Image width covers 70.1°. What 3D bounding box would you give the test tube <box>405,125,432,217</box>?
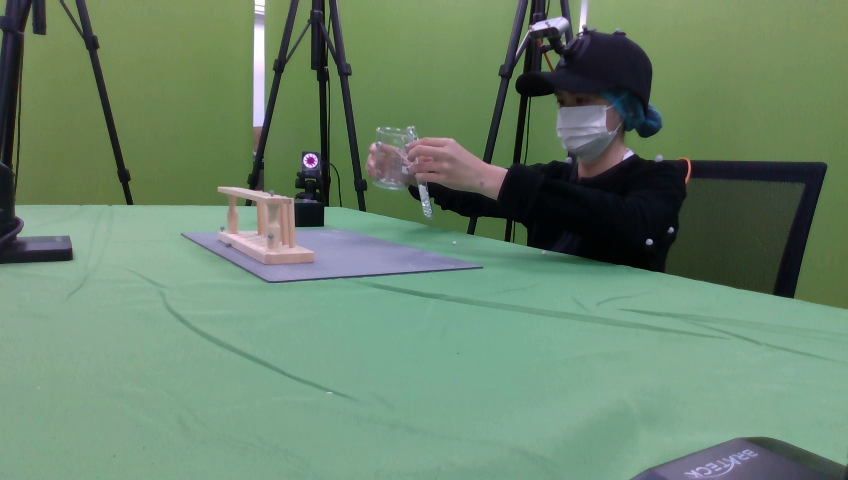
[{"bbox_3d":[-0.008,-0.110,0.973,0.017,0.150,0.017,-12,6,1],"label":"test tube"}]

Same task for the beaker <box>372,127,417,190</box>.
[{"bbox_3d":[-0.053,-0.143,1.075,0.083,0.100,0.074,18,21,28],"label":"beaker"}]

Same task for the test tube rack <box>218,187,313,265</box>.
[{"bbox_3d":[-0.235,-0.027,0.872,0.067,0.085,0.241,-1,8,-32],"label":"test tube rack"}]
